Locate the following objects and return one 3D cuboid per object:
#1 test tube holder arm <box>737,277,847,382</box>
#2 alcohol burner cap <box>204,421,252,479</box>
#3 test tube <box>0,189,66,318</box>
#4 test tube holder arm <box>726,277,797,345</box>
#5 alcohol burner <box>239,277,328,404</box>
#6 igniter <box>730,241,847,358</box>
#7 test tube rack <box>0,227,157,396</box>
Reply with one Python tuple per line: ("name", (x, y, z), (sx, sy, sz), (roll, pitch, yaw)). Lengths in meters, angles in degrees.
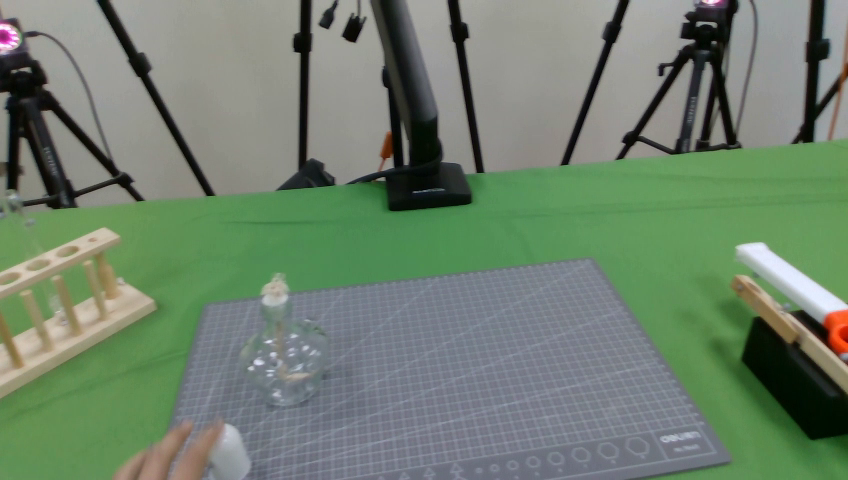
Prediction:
("test tube holder arm", (0.320, 0.083, 0.506), (0.013, 0.015, 0.176), (-11, 31, -12))
("alcohol burner cap", (-0.156, 0.163, 0.474), (0.034, 0.048, 0.033), (-1, 32, 1))
("test tube", (-0.382, 0.018, 0.594), (0.017, 0.151, 0.017), (-1, 34, 1))
("test tube holder arm", (0.303, 0.062, 0.543), (0.010, 0.015, 0.087), (-10, 31, -9))
("alcohol burner", (-0.125, 0.084, 0.531), (0.078, 0.120, 0.077), (-2, 30, 1))
("igniter", (0.357, 0.072, 0.515), (0.057, 0.025, 0.274), (-7, 29, -7))
("test tube rack", (-0.396, 0.083, 0.585), (0.066, 0.086, 0.242), (21, 38, 32))
